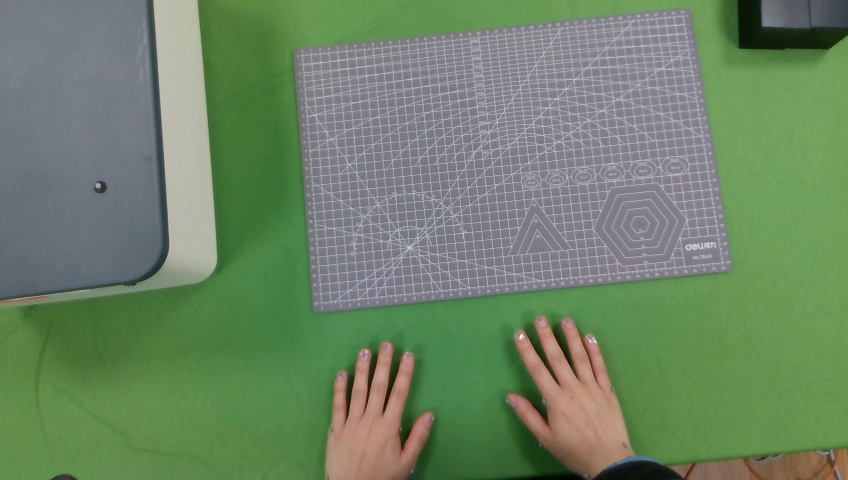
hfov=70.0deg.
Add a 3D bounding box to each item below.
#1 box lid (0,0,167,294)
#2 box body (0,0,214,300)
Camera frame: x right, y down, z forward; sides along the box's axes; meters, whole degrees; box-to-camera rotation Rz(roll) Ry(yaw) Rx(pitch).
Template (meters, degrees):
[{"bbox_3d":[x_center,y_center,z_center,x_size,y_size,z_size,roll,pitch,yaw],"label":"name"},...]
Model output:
[{"bbox_3d":[-0.366,-0.139,0.527,0.263,0.015,0.370,-8,84,0],"label":"box lid"},{"bbox_3d":[-0.365,-0.127,0.600,0.254,0.161,0.363,-8,83,0],"label":"box body"}]
